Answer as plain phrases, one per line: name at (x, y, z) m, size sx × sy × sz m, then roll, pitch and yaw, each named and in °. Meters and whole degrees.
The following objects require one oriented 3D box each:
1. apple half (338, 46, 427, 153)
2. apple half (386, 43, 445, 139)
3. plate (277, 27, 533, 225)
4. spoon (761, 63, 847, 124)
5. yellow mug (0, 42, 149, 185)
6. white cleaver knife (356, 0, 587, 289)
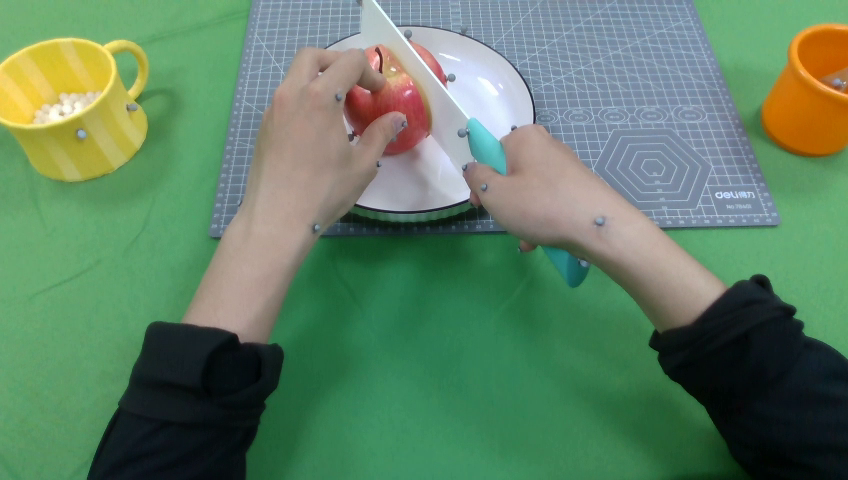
apple half at (-0.039, -0.104, 0.482) m, size 0.053 × 0.075 × 0.080 m, roll -32°, pitch 69°, yaw -12°
apple half at (-0.003, -0.124, 0.494) m, size 0.033 × 0.082 × 0.080 m, roll -29°, pitch 62°, yaw -19°
plate at (-0.015, -0.095, 0.506) m, size 0.209 × 0.038 × 0.207 m, roll 0°, pitch 58°, yaw 0°
spoon at (0.369, -0.152, 0.482) m, size 0.022 × 0.194 × 0.041 m, roll 25°, pitch 45°, yaw -38°
yellow mug at (-0.282, -0.115, 0.503) m, size 0.099 × 0.064 × 0.130 m, roll 29°, pitch 61°, yaw 16°
white cleaver knife at (0.024, -0.078, 0.447) m, size 0.021 × 0.066 × 0.284 m, roll -27°, pitch 66°, yaw -18°
